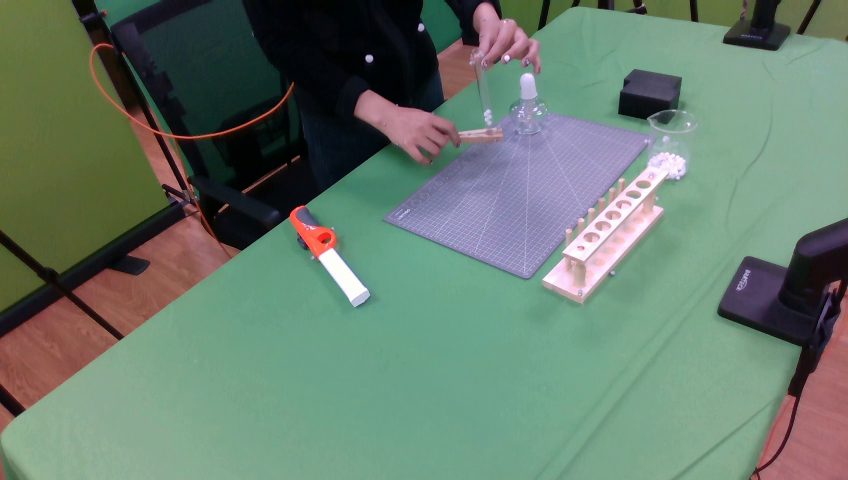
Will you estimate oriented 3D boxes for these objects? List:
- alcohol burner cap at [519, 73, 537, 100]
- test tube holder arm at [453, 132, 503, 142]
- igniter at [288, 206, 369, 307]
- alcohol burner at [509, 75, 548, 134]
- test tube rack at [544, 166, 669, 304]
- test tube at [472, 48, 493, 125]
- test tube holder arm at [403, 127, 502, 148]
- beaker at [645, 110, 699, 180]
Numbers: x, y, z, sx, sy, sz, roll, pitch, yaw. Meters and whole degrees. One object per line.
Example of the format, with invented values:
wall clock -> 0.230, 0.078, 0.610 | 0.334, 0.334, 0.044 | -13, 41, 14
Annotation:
alcohol burner cap -> 0.198, -0.298, 1.163 | 0.034, 0.048, 0.033 | -9, 37, 7
test tube holder arm -> 0.096, -0.183, 1.079 | 0.088, 0.015, 0.010 | -1, 56, 2
igniter -> -0.163, 0.017, 0.986 | 0.057, 0.025, 0.274 | -33, 45, -12
alcohol burner -> 0.204, -0.270, 1.186 | 0.078, 0.119, 0.077 | -5, 42, 5
test tube rack -> 0.274, -0.018, 0.903 | 0.066, 0.085, 0.243 | 26, 51, 35
test tube -> 0.099, -0.251, 1.003 | 0.017, 0.151, 0.017 | -7, 50, 9
test tube holder arm -> 0.051, -0.183, 1.082 | 0.178, 0.015, 0.013 | -7, 55, -2
beaker -> 0.417, -0.160, 1.032 | 0.083, 0.101, 0.074 | 25, 51, 35
